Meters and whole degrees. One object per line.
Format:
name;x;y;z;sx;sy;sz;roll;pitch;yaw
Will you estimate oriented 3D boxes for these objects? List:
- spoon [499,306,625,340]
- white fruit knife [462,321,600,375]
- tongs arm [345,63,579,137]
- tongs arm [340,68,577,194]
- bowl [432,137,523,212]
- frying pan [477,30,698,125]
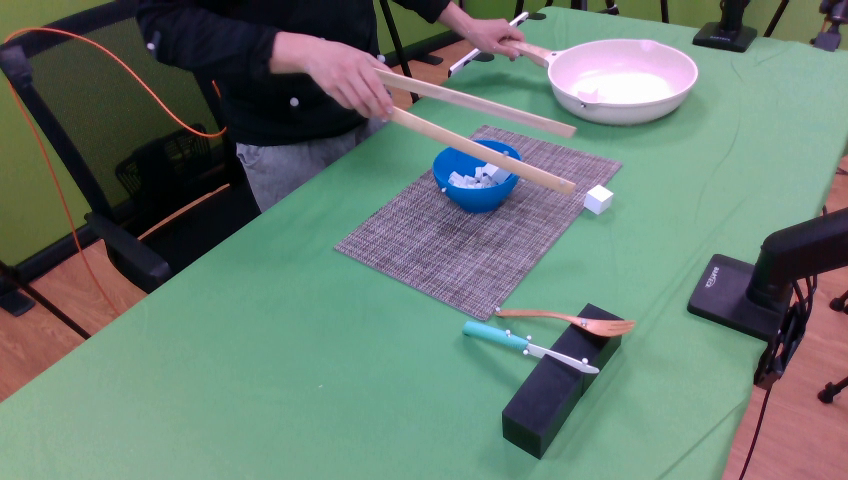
spoon;0.169;0.102;0.773;0.042;0.021;0.192;-10;13;-38
white fruit knife;0.126;0.132;0.752;0.205;0.027;0.016;12;47;42
tongs arm;0.066;-0.219;0.958;0.389;0.028;0.028;13;57;-12
tongs arm;0.052;-0.162;0.911;0.385;0.026;0.050;21;52;-5
bowl;0.091;-0.100;1.022;0.151;0.077;0.150;-4;41;4
frying pan;0.321;-0.371;1.290;0.484;0.103;0.308;29;51;24
